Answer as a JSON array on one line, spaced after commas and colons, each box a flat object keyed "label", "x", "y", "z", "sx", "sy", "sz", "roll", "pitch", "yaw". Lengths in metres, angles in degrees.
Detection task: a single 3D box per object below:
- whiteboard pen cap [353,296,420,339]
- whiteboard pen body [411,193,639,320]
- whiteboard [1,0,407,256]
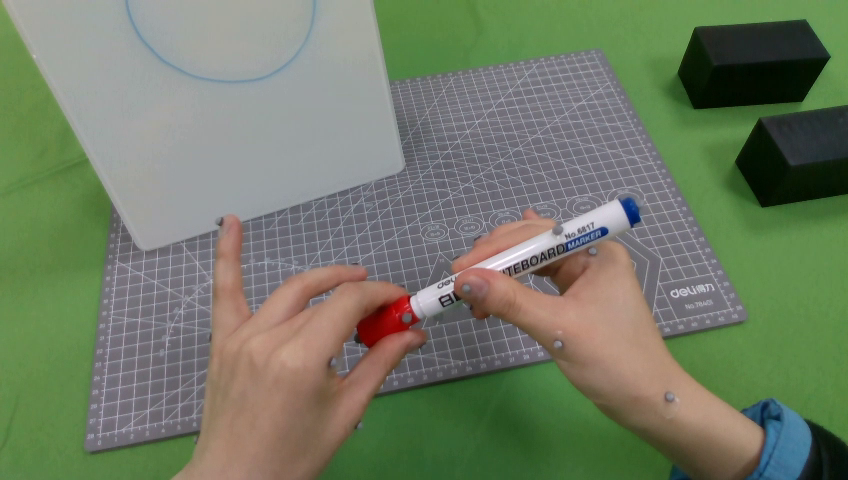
[{"label": "whiteboard pen cap", "x": -0.019, "y": 0.040, "z": 0.312, "sx": 0.032, "sy": 0.017, "sz": 0.017, "roll": -14, "pitch": 56, "yaw": 8}, {"label": "whiteboard pen body", "x": 0.038, "y": 0.014, "z": 0.298, "sx": 0.140, "sy": 0.017, "sz": 0.016, "roll": -27, "pitch": 56, "yaw": 13}, {"label": "whiteboard", "x": -0.158, "y": -0.178, "z": 0.441, "sx": 0.217, "sy": 0.308, "sz": 0.142, "roll": -19, "pitch": 38, "yaw": -10}]
